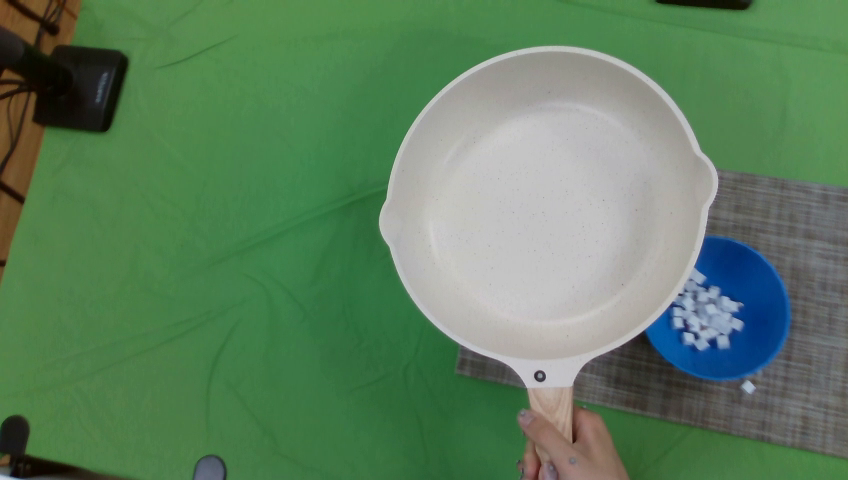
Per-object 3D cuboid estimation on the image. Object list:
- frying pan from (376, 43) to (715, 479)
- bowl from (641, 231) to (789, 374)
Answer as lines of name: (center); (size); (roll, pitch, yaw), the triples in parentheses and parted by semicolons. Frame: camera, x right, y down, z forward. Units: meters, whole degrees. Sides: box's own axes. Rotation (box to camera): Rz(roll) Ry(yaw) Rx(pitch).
frying pan: (0.107, 0.066, 0.551); (0.306, 0.103, 0.485); (-6, 75, 21)
bowl: (0.303, 0.071, 0.663); (0.151, 0.077, 0.150); (-1, 78, 7)
